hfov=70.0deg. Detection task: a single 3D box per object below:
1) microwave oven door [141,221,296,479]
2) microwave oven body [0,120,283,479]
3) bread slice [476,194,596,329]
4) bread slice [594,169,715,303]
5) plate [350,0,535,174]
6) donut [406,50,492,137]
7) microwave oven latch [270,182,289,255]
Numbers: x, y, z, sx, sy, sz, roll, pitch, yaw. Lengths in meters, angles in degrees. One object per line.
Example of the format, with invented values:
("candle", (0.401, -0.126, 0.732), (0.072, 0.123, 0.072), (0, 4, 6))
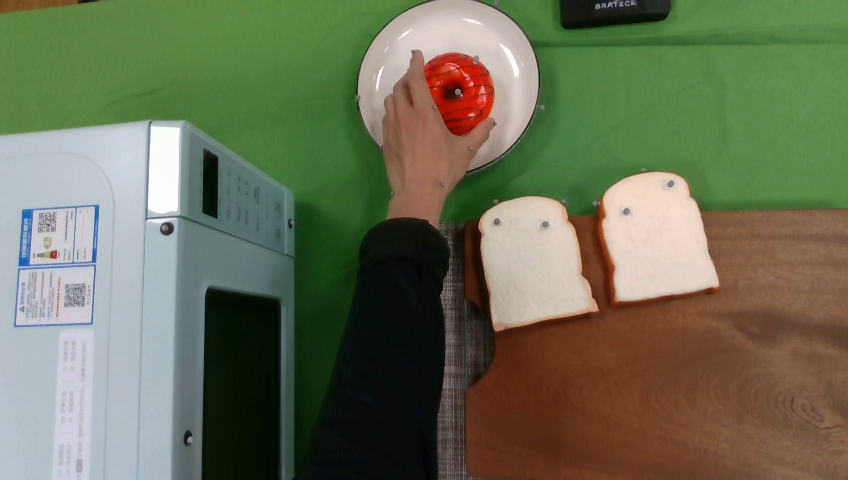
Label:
("microwave oven door", (-0.174, 0.177, 0.547), (0.039, 0.245, 0.354), (-4, 81, 8))
("microwave oven body", (-0.320, 0.146, 0.577), (0.326, 0.261, 0.440), (-4, 82, 7))
("bread slice", (0.107, 0.020, 0.631), (0.107, 0.018, 0.133), (-15, 80, 5))
("bread slice", (0.228, -0.007, 0.618), (0.105, 0.019, 0.131), (-11, 80, 5))
("plate", (0.021, -0.173, 0.691), (0.207, 0.039, 0.207), (-1, 82, 8))
("donut", (0.027, -0.163, 0.677), (0.099, 0.048, 0.098), (-2, 82, 12))
("microwave oven latch", (-0.167, -0.024, 0.678), (0.030, 0.029, 0.079), (-2, 82, 7))
